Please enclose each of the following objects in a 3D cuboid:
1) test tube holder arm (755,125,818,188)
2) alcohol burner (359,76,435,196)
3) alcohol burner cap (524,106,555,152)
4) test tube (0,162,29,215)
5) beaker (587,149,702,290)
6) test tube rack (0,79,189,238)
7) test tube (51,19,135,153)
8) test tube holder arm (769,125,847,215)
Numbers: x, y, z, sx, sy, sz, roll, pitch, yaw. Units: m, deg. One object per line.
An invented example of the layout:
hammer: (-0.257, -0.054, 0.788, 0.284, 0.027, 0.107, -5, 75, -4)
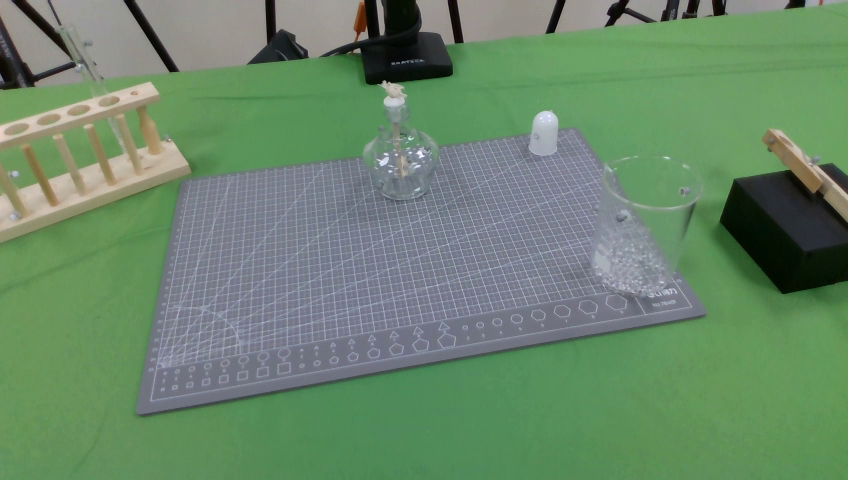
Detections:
test tube holder arm: (0.333, -0.077, 0.553, 0.010, 0.015, 0.087, -3, 42, -9)
alcohol burner: (-0.028, -0.104, 0.599, 0.078, 0.120, 0.077, -3, 41, 3)
alcohol burner cap: (0.128, -0.125, 0.667, 0.034, 0.048, 0.033, -1, 42, 2)
test tube: (-0.408, -0.085, 0.557, 0.017, 0.152, 0.017, -3, 41, 3)
beaker: (0.174, -0.016, 0.502, 0.074, 0.101, 0.083, -30, 48, -26)
test tube rack: (-0.379, -0.078, 0.614, 0.242, 0.086, 0.066, -26, 47, -23)
test tube: (-0.333, -0.151, 0.617, 0.017, 0.152, 0.017, -4, 45, 4)
test tube holder arm: (0.346, -0.048, 0.521, 0.013, 0.015, 0.176, -4, 42, -10)
